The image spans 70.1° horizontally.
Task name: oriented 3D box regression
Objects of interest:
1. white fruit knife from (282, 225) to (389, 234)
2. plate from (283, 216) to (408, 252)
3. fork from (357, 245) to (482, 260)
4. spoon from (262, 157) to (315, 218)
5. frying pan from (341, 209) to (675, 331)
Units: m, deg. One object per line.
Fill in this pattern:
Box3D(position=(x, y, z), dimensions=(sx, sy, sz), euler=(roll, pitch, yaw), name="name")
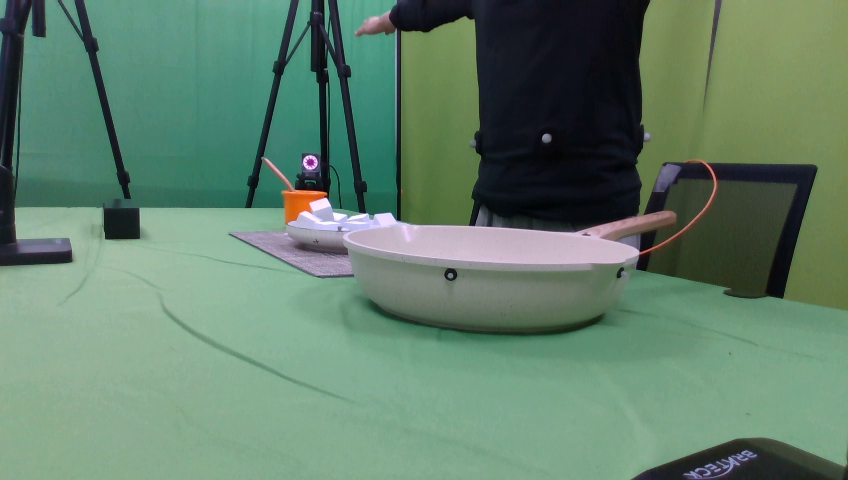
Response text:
Box3D(position=(-0.162, -0.018, 1.120), dimensions=(0.208, 0.016, 0.027), euler=(-3, 5, -34), name="white fruit knife")
Box3D(position=(-0.119, -0.009, 0.968), dimensions=(0.208, 0.039, 0.207), euler=(2, 7, 0), name="plate")
Box3D(position=(0.000, 0.017, 0.866), dimensions=(0.208, 0.018, 0.028), euler=(-4, -1, -33), name="fork")
Box3D(position=(-0.276, -0.103, 1.251), dimensions=(0.021, 0.193, 0.042), euler=(-42, -15, 22), name="spoon")
Box3D(position=(0.144, 0.008, 0.677), dimensions=(0.490, 0.102, 0.305), euler=(-13, 16, -36), name="frying pan")
